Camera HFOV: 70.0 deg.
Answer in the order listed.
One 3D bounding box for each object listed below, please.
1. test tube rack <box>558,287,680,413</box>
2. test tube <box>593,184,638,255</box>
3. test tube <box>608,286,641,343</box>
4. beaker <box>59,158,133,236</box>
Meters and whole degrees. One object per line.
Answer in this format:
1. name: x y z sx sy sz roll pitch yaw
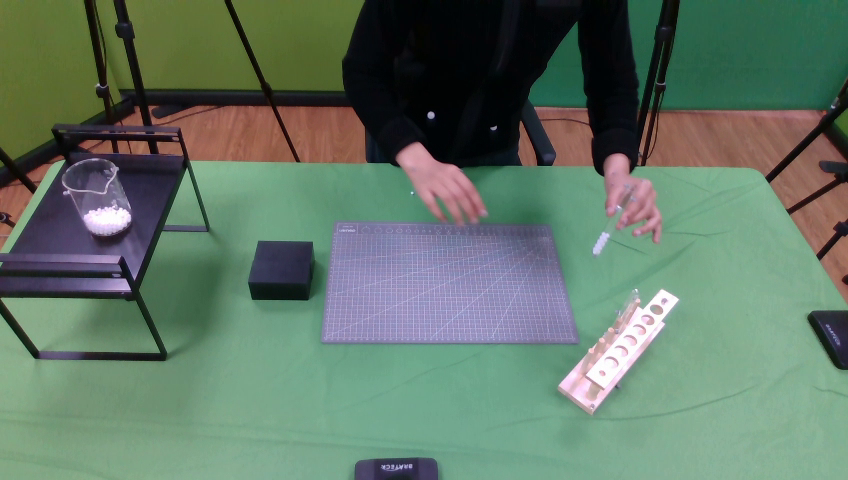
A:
1. test tube rack: 0.327 0.170 1.009 0.066 0.085 0.242 36 54 26
2. test tube: 0.295 -0.028 0.944 0.017 0.151 0.017 6 47 -7
3. test tube: 0.326 0.124 0.991 0.017 0.151 0.017 2 49 -2
4. beaker: -0.488 -0.060 0.915 0.074 0.101 0.083 -35 58 -31
